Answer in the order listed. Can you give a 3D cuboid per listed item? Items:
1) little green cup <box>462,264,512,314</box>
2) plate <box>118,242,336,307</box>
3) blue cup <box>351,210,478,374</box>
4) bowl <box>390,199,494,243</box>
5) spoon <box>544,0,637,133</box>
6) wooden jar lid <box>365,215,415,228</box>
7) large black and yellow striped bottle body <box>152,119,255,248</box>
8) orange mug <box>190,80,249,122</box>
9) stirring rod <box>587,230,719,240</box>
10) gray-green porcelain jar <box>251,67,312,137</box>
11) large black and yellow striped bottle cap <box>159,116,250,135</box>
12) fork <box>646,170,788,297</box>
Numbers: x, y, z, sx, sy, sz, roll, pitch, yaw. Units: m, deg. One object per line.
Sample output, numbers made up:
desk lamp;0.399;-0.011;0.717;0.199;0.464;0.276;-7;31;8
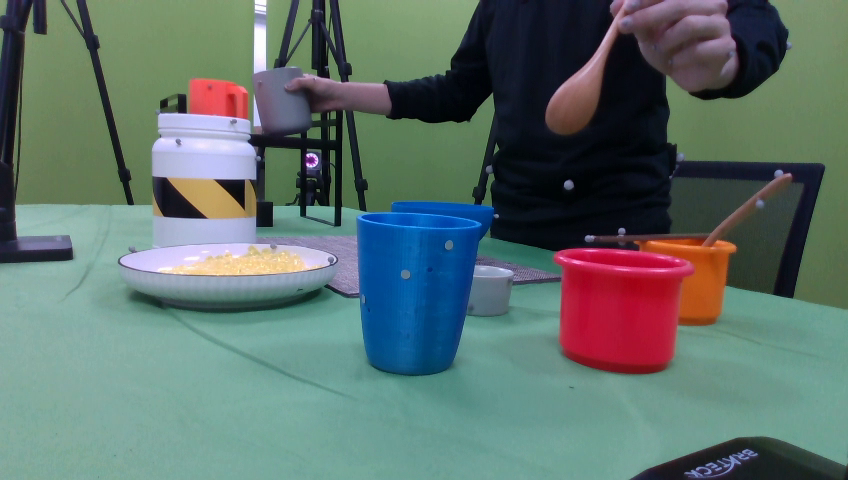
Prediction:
little green cup;0.053;0.047;0.580;0.061;0.038;0.061;3;8;0
plate;-0.194;0.033;0.615;0.209;0.038;0.209;2;7;0
blue cup;-0.009;0.034;0.414;0.093;0.100;0.092;4;8;0
bowl;0.024;-0.015;0.872;0.151;0.077;0.151;3;7;0
spoon;0.164;-0.182;0.531;0.042;0.193;0.021;28;6;-10
wooden jar lid;-0.073;-0.040;1.291;0.108;0.020;0.108;3;7;0
large black and yellow striped bottle body;-0.296;-0.070;0.819;0.131;0.184;0.130;2;7;0
orange mug;-0.394;-0.257;1.173;0.126;0.100;0.084;1;6;25
stirring rod;0.226;-0.006;0.587;0.177;0.006;0.014;-2;9;-29
gray-green porcelain jar;-0.292;-0.282;1.249;0.106;0.126;0.106;-10;9;2
large black and yellow striped bottle cap;-0.292;-0.153;0.810;0.115;0.019;0.115;3;8;0
fork;0.256;0.004;0.543;0.028;0.018;0.207;3;-36;-9
